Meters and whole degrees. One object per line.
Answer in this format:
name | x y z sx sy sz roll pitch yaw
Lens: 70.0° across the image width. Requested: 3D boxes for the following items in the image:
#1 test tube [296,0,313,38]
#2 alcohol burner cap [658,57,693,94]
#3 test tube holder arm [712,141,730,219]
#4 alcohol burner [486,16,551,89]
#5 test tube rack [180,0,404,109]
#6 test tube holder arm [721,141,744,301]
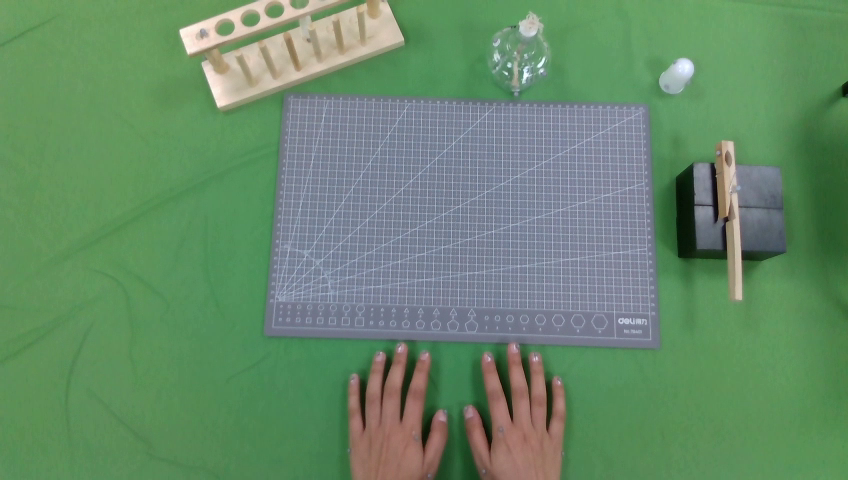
test tube | -0.137 -0.277 0.676 0.017 0.151 0.017 1 71 -4
alcohol burner cap | 0.309 -0.203 0.739 0.034 0.048 0.033 0 77 1
test tube holder arm | 0.331 -0.067 0.674 0.010 0.015 0.087 0 80 -2
alcohol burner | 0.113 -0.226 0.706 0.078 0.119 0.077 1 78 -2
test tube rack | -0.149 -0.243 0.719 0.242 0.085 0.066 -22 78 -5
test tube holder arm | 0.338 -0.023 0.666 0.013 0.015 0.177 -1 80 -3
